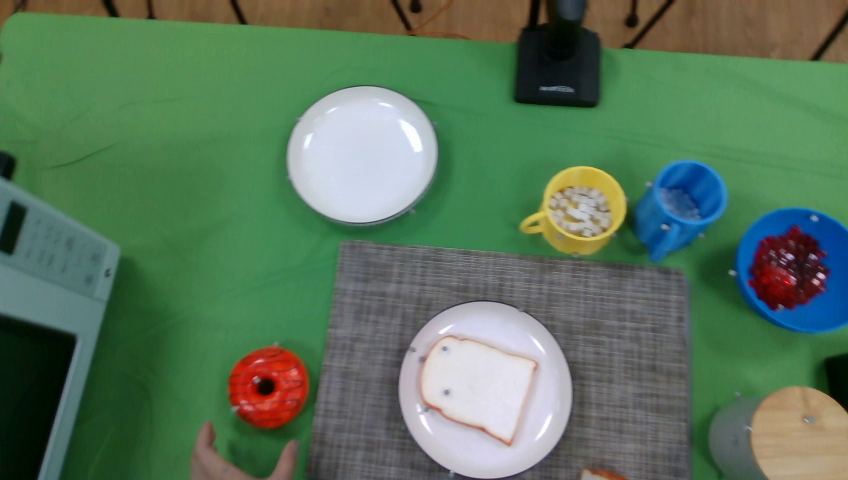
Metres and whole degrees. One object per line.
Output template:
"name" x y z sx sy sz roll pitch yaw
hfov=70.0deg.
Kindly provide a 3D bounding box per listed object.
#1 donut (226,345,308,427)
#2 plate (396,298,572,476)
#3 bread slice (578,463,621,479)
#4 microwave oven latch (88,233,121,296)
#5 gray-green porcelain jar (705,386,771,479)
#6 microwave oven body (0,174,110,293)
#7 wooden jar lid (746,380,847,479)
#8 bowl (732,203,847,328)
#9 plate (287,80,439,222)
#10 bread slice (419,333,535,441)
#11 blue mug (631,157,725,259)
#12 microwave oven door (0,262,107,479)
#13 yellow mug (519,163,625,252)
"donut" -0.192 0.179 0.746 0.099 0.048 0.098 0 74 0
"plate" 0.072 0.174 0.731 0.209 0.038 0.208 -1 72 3
"bread slice" 0.185 0.295 0.642 0.018 0.135 0.106 14 72 0
"microwave oven latch" -0.420 0.031 0.786 0.030 0.029 0.079 9 74 6
"gray-green porcelain jar" 0.376 0.214 0.660 0.106 0.127 0.105 -1 73 3
"microwave oven body" -0.595 0.155 0.656 0.326 0.261 0.439 6 74 5
"wooden jar lid" 0.372 0.195 0.601 0.108 0.021 0.108 0 74 1
"bowl" 0.441 0.039 0.736 0.151 0.077 0.150 -1 73 3
"plate" -0.082 -0.120 0.835 0.207 0.039 0.206 -1 73 3
"bread slice" 0.059 0.172 0.736 0.131 0.019 0.104 19 74 5
"blue mug" 0.305 -0.030 0.751 0.082 0.106 0.116 25 76 11
"microwave oven door" -0.457 0.208 0.627 0.039 0.245 0.354 6 73 5
"yellow mug" 0.186 -0.036 0.779 0.131 0.064 0.099 -16 72 0
